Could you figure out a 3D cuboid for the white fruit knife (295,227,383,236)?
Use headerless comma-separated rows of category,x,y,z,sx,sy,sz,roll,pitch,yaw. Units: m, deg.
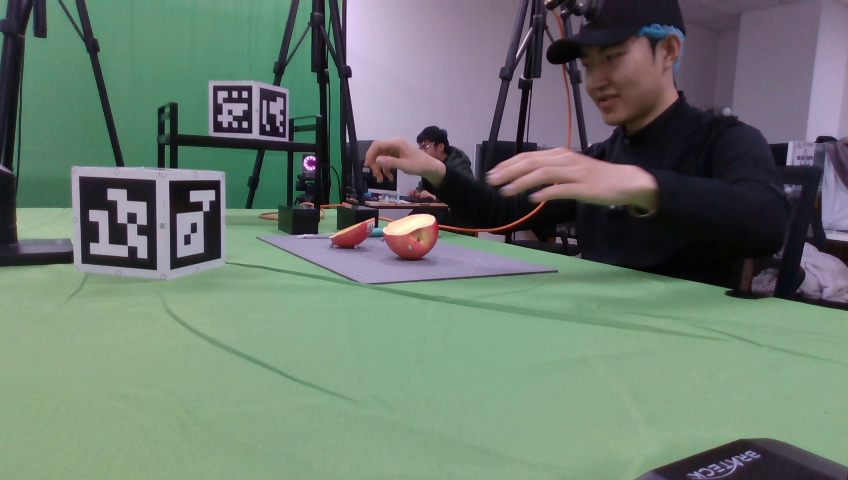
white fruit knife,-0.134,-0.013,1.104,0.208,0.016,0.027,-3,-4,-30

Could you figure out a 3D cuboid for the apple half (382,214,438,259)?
apple half,-0.019,-0.001,0.884,0.081,0.053,0.074,-23,23,-23

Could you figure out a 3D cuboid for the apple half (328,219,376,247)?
apple half,-0.111,-0.007,0.971,0.081,0.033,0.081,-17,9,3
